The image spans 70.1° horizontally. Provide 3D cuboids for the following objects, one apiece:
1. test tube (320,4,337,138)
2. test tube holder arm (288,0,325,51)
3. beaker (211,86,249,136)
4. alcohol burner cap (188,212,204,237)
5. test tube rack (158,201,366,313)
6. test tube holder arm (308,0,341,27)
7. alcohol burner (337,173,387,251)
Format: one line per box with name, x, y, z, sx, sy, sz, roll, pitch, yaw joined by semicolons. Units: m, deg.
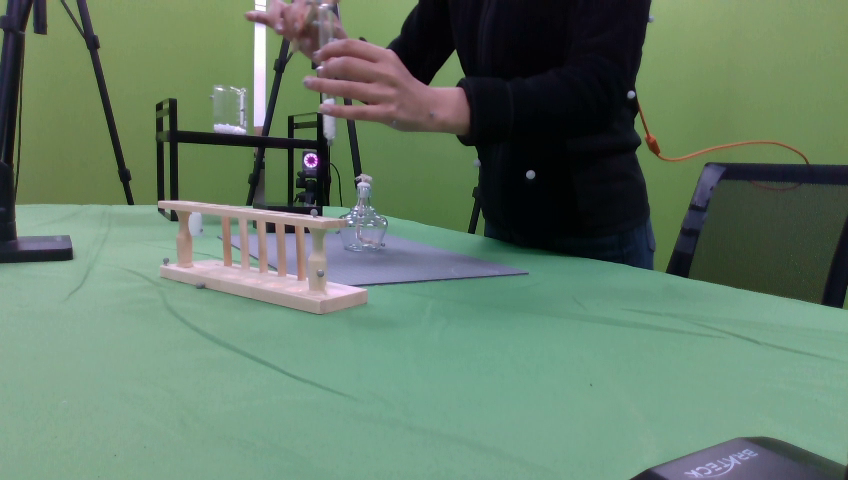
test tube;-0.110;-0.193;0.696;0.017;0.150;0.017;0;6;0
test tube holder arm;-0.150;-0.276;0.766;0.013;0.015;0.177;5;-5;-25
beaker;-0.413;-0.274;1.297;0.074;0.100;0.083;-5;11;-44
alcohol burner cap;-0.390;-0.029;1.025;0.034;0.048;0.034;2;9;0
test tube rack;-0.173;0.009;0.624;0.241;0.085;0.067;7;9;34
test tube holder arm;-0.124;-0.278;0.730;0.010;0.015;0.087;5;-5;-36
alcohol burner;-0.095;-0.043;0.926;0.078;0.119;0.078;3;6;0
